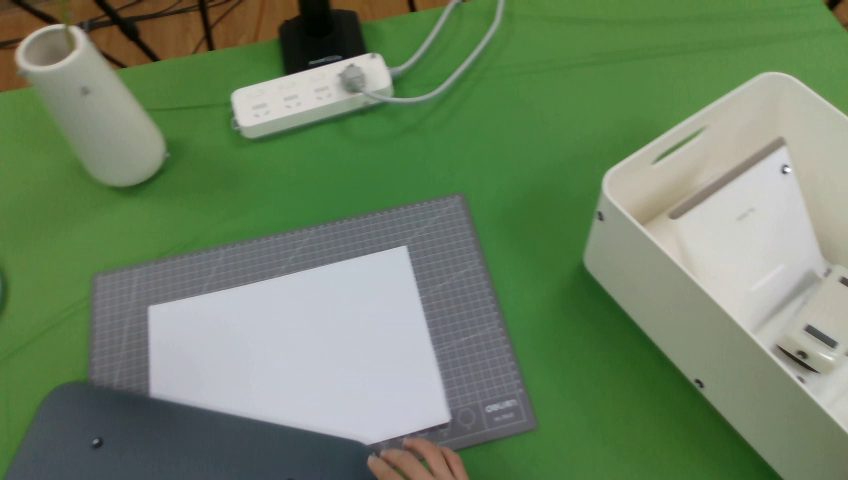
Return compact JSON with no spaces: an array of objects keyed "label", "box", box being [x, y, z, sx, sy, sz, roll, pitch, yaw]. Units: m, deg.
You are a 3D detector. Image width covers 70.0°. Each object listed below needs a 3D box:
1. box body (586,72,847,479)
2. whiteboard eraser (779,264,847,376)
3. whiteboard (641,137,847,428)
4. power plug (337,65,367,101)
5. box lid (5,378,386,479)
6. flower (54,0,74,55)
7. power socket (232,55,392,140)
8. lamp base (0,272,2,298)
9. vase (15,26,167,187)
[{"label":"box body","box":[0.367,0.045,0.592,0.254,0.162,0.360,-32,64,-15]},{"label":"whiteboard eraser","box":[0.406,0.079,0.602,0.055,0.042,0.112,37,67,27]},{"label":"whiteboard","box":[0.363,0.040,0.608,0.217,0.145,0.302,-32,63,-18]},{"label":"power plug","box":[-0.094,-0.197,0.796,0.035,0.053,0.072,-8,67,-2]},{"label":"box lid","box":[-0.240,0.285,0.569,0.371,0.015,0.261,10,62,7]},{"label":"flower","box":[-0.367,-0.187,0.637,0.038,0.363,0.044,35,57,1]},{"label":"power socket","box":[-0.151,-0.195,0.823,0.227,0.033,0.071,-17,62,-8]},{"label":"lamp base","box":[-0.581,0.032,0.627,0.178,0.182,0.159,16,62,14]},{"label":"vase","box":[-0.384,-0.149,0.711,0.098,0.202,0.097,-2,60,3]}]
